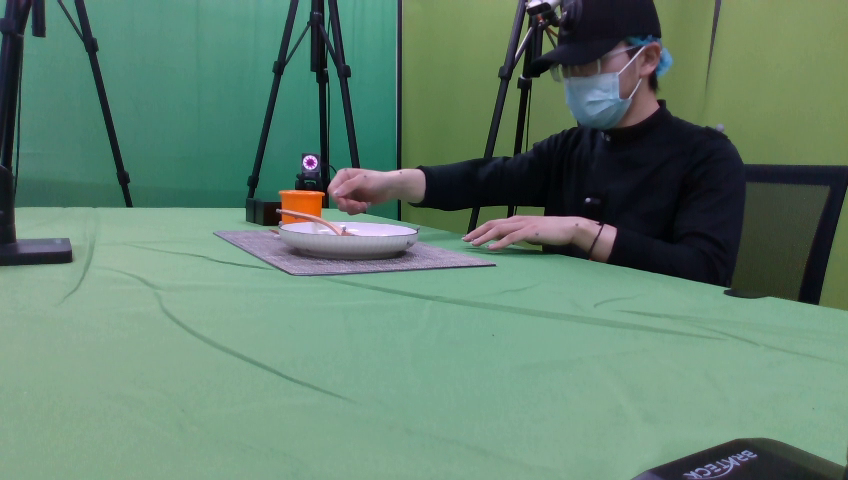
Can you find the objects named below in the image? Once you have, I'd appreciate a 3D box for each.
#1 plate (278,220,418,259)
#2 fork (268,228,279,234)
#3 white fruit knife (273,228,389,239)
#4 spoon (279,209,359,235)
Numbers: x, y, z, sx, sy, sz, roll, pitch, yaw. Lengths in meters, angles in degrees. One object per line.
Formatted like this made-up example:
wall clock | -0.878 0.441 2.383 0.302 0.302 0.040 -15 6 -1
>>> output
plate | -0.114 -0.002 0.914 0.209 0.038 0.209 2 7 0
fork | -0.174 -0.017 1.084 0.208 0.018 0.028 -3 -4 -30
white fruit knife | -0.158 -0.009 1.055 0.208 0.016 0.027 -3 -22 -23
spoon | -0.163 -0.027 0.976 0.193 0.021 0.042 21 17 30
